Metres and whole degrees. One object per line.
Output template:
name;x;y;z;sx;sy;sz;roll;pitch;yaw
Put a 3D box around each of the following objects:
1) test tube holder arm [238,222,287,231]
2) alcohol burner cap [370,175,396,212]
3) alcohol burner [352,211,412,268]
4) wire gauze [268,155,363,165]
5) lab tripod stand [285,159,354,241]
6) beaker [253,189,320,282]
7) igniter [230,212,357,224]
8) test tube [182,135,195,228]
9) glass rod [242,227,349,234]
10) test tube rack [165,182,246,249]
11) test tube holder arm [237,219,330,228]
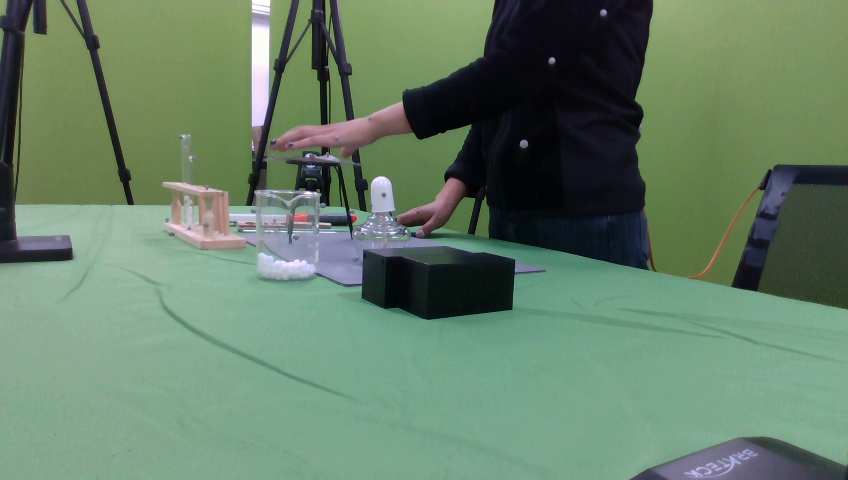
test tube holder arm;-0.297;-0.024;1.114;0.088;0.015;0.010;-3;49;-33
alcohol burner cap;-0.055;-0.059;0.778;0.034;0.048;0.034;-7;10;2
alcohol burner;-0.055;-0.024;0.784;0.078;0.119;0.078;1;9;0
wire gauze;-0.185;-0.136;1.016;0.126;0.011;0.121;-4;11;-33
lab tripod stand;-0.187;-0.068;1.013;0.148;0.131;0.148;4;9;0
beaker;-0.156;-0.005;0.689;0.074;0.100;0.083;0;8;-14
igniter;-0.271;-0.044;1.232;0.278;0.025;0.057;-2;-2;-28
test tube;-0.382;-0.095;0.983;0.017;0.150;0.017;-1;2;0
glass rod;-0.232;-0.016;1.110;0.201;0.008;0.008;2;6;-29
test tube rack;-0.360;-0.044;0.982;0.067;0.085;0.241;-3;9;-34
test tube holder arm;-0.262;-0.031;1.143;0.179;0.015;0.013;-5;50;-35
